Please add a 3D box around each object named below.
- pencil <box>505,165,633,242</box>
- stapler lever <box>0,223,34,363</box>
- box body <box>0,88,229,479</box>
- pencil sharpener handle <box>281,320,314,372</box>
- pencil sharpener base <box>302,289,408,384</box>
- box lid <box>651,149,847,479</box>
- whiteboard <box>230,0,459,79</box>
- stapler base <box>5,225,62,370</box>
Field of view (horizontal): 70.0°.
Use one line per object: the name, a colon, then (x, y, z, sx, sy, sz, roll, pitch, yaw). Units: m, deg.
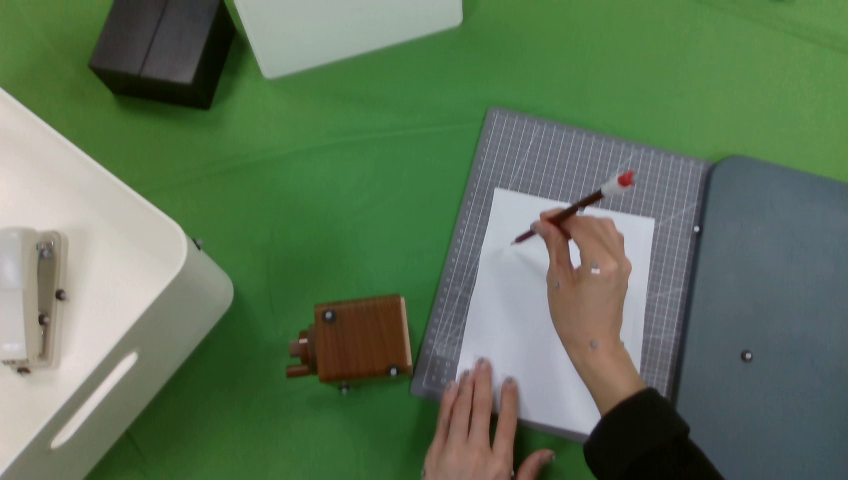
pencil: (0.104, -0.022, 0.479, 0.012, 0.194, 0.012, 4, 75, -16)
stapler lever: (-0.347, 0.042, 0.508, 0.027, 0.040, 0.117, -5, 78, -1)
box body: (-0.372, 0.014, 0.476, 0.363, 0.161, 0.253, 36, 77, 7)
pencil sharpener handle: (-0.104, 0.089, 0.482, 0.031, 0.068, 0.035, -7, 59, -3)
pencil sharpener base: (-0.054, 0.083, 0.499, 0.077, 0.107, 0.061, -7, 75, -3)
box lid: (0.362, 0.105, 0.559, 0.263, 0.015, 0.370, 15, 75, 1)
whiteboard: (-0.098, -0.336, 0.539, 0.217, 0.308, 0.142, -18, 56, -6)
stapler base: (-0.349, 0.047, 0.534, 0.041, 0.024, 0.130, -5, 77, -2)
